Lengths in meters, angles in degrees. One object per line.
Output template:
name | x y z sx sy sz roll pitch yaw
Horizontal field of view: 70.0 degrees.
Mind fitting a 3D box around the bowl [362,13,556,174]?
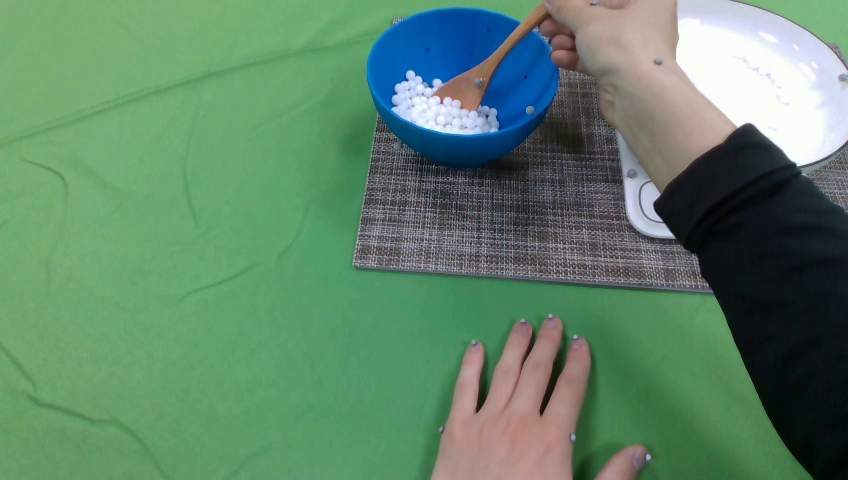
bowl | 0.027 -0.108 0.501 0.151 0.077 0.150 1 55 0

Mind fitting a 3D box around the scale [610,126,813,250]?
scale | 0.236 -0.083 0.516 0.148 0.032 0.199 3 56 1

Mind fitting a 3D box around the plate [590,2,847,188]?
plate | 0.238 -0.120 0.501 0.209 0.038 0.207 1 56 -1

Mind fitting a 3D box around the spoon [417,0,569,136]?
spoon | 0.066 -0.148 0.467 0.022 0.194 0.041 -4 60 -54
